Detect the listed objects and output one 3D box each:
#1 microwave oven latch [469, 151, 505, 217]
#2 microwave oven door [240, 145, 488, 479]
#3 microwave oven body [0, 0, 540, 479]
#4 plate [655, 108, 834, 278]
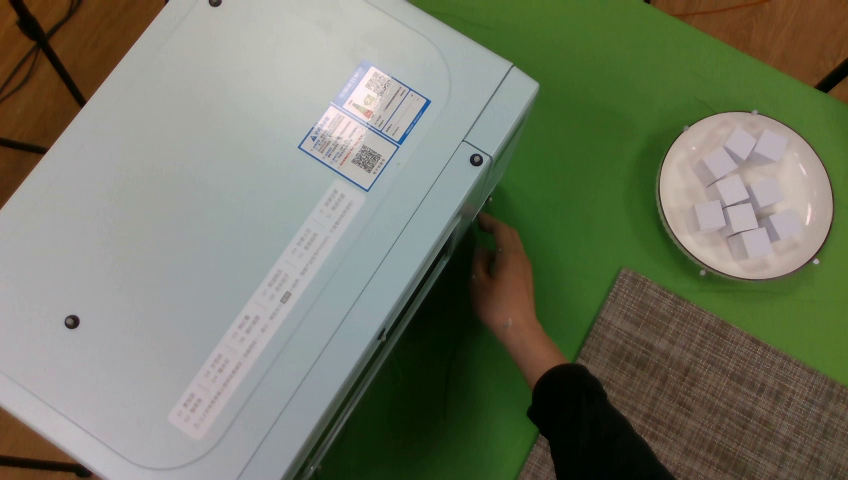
[{"bbox_3d":[0.063,-0.065,0.700,0.030,0.029,0.079,34,81,5],"label":"microwave oven latch"},{"bbox_3d":[-0.058,0.094,0.562,0.039,0.244,0.355,32,80,6],"label":"microwave oven door"},{"bbox_3d":[-0.157,-0.018,0.587,0.325,0.261,0.441,32,81,5],"label":"microwave oven body"},{"bbox_3d":[0.376,-0.055,0.723,0.208,0.039,0.206,0,79,-1],"label":"plate"}]
